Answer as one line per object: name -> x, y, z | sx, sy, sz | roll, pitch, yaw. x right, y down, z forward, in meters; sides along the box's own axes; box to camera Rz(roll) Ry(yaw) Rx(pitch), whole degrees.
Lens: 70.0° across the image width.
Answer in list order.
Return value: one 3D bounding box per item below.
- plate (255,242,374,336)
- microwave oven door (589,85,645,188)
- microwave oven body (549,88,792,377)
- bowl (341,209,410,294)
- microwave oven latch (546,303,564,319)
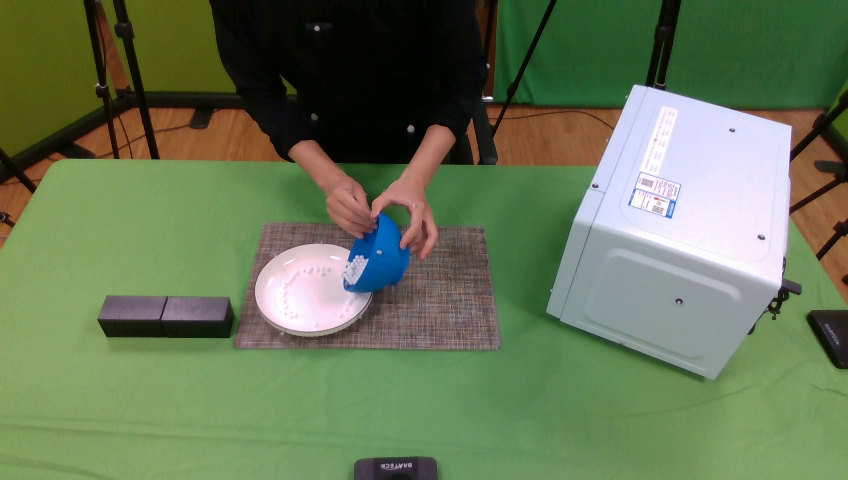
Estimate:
plate -> -0.192, 0.090, 1.080 | 0.208, 0.039, 0.206 | 2, 46, -2
microwave oven door -> 0.342, -0.107, 1.148 | 0.039, 0.245, 0.354 | 20, 48, 15
microwave oven body -> 0.456, -0.028, 1.088 | 0.325, 0.261, 0.440 | 20, 47, 16
bowl -> -0.076, 0.030, 1.045 | 0.077, 0.151, 0.150 | 23, 43, -19
microwave oven latch -> 0.242, 0.102, 1.081 | 0.030, 0.029, 0.079 | 21, 48, 17
